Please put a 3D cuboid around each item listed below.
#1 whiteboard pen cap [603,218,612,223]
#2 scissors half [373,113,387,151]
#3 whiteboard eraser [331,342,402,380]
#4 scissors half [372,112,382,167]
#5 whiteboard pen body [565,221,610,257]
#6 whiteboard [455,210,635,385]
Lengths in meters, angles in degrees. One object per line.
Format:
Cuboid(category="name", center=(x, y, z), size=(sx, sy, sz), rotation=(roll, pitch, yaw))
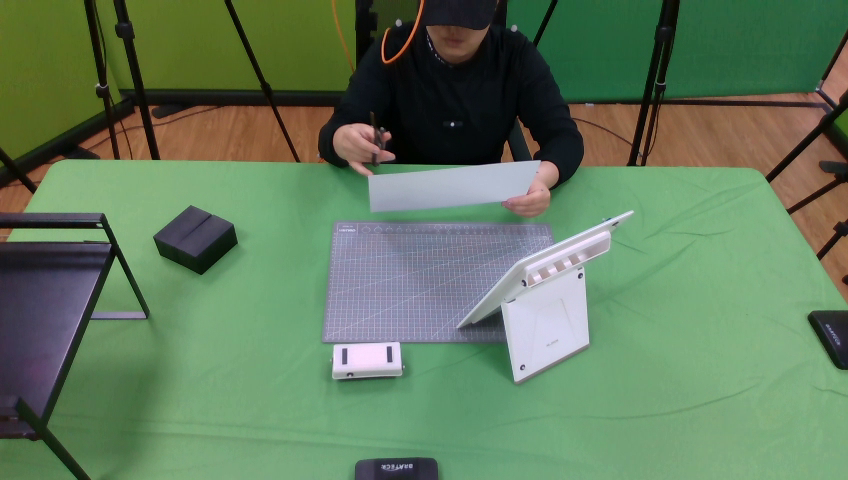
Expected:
Cuboid(category="whiteboard pen cap", center=(0.379, -0.031, 1.255), size=(0.033, 0.018, 0.018), rotation=(-33, 57, -30))
Cuboid(category="scissors half", center=(-0.078, -0.191, 1.048), size=(0.013, 0.175, 0.040), rotation=(15, 86, 3))
Cuboid(category="whiteboard eraser", center=(-0.094, 0.198, 0.986), size=(0.113, 0.042, 0.055), rotation=(-2, 44, -6))
Cuboid(category="scissors half", center=(-0.083, -0.171, 1.044), size=(0.013, 0.176, 0.040), rotation=(10, 69, 2))
Cuboid(category="whiteboard pen body", center=(0.335, -0.004, 1.228), size=(0.141, 0.017, 0.017), rotation=(-33, 57, -29))
Cuboid(category="whiteboard", center=(0.211, 0.111, 0.955), size=(0.217, 0.306, 0.143), rotation=(-20, 72, -23))
